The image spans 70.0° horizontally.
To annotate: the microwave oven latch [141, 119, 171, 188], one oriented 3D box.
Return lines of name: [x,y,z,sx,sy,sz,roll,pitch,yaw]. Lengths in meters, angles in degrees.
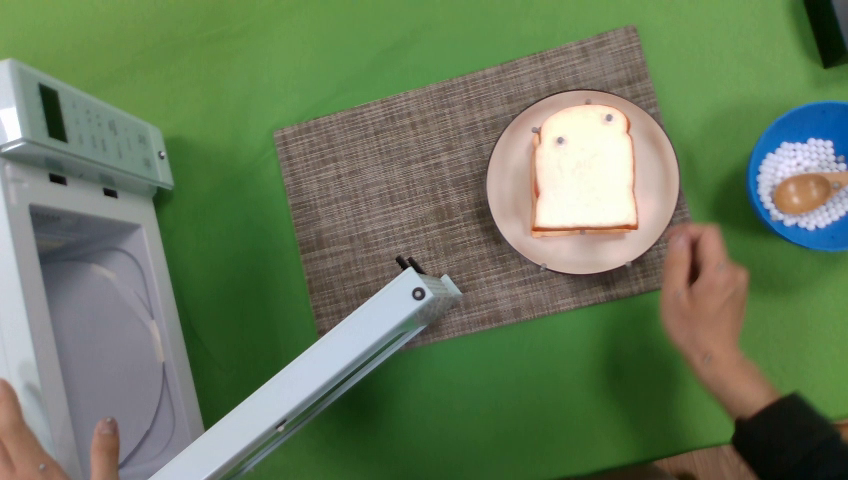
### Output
microwave oven latch: [-0.337,-0.106,0.741,0.030,0.029,0.079,-17,85,6]

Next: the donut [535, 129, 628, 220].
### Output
donut: [0.167,-0.069,0.648,0.099,0.048,0.099,0,87,5]

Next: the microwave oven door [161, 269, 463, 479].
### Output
microwave oven door: [-0.119,0.149,0.591,0.356,0.244,0.039,-40,81,4]

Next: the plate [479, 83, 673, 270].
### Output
plate: [0.167,-0.068,0.679,0.207,0.039,0.207,-1,86,8]

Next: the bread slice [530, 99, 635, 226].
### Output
bread slice: [0.159,-0.080,0.623,0.104,0.019,0.131,-3,84,14]

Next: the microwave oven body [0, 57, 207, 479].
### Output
microwave oven body: [-0.445,0.098,0.646,0.326,0.261,0.440,-17,85,6]

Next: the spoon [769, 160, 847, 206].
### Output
spoon: [0.442,-0.081,0.590,0.193,0.022,0.041,-23,80,28]

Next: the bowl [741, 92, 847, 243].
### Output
bowl: [0.398,-0.069,0.628,0.151,0.077,0.151,-1,86,8]

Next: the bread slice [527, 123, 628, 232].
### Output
bread slice: [0.165,-0.076,0.679,0.107,0.018,0.134,-6,85,7]
